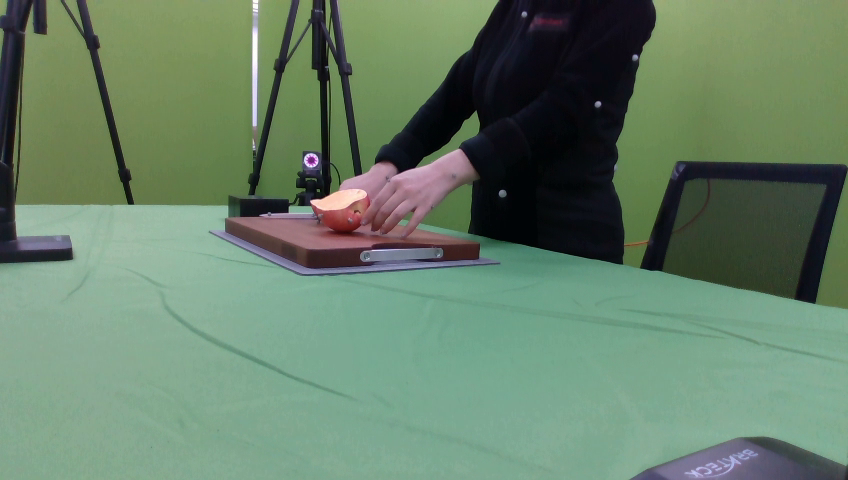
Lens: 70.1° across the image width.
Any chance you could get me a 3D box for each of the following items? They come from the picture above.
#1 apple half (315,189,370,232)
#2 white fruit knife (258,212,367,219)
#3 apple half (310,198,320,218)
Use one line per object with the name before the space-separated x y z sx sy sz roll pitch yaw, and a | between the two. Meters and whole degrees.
apple half | -0.123 -0.041 0.929 0.074 0.053 0.081 11 35 39
white fruit knife | -0.200 -0.046 1.112 0.208 0.016 0.027 -2 -20 -26
apple half | -0.160 -0.044 1.036 0.081 0.033 0.081 16 15 -4
